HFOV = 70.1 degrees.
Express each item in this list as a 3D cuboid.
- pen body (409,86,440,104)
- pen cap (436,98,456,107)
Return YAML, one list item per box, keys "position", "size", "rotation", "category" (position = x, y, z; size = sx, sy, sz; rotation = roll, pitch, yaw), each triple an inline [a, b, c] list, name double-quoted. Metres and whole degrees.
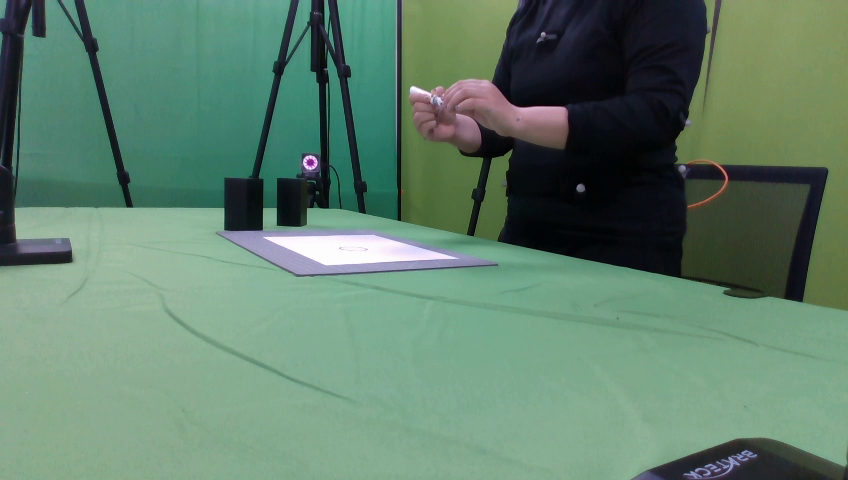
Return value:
- position: [0.006, -0.261, 1.099]
  size: [0.017, 0.017, 0.143]
  rotation: [0, 21, -25]
  category: "pen body"
- position: [0.038, -0.235, 1.036]
  size: [0.017, 0.017, 0.038]
  rotation: [-3, 13, -38]
  category: "pen cap"
